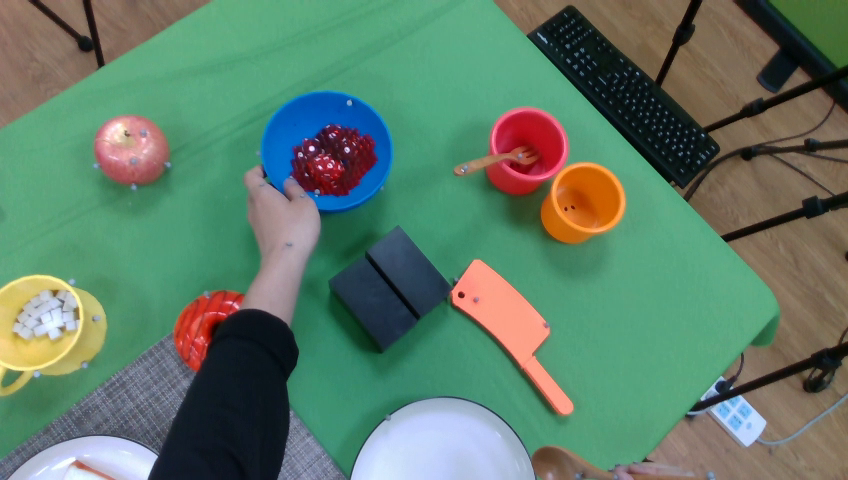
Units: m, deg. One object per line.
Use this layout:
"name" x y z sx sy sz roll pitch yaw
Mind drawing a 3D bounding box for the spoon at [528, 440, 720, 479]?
"spoon" 0.161 0.197 0.520 0.022 0.193 0.041 -25 94 -33

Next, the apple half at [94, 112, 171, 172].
"apple half" -0.334 -0.118 0.711 0.081 0.075 0.053 16 67 2

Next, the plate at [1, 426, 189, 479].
"plate" -0.333 0.296 0.611 0.208 0.039 0.206 2 75 -7

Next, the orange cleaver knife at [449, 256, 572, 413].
"orange cleaver knife" 0.115 0.111 0.733 0.077 0.012 0.210 -38 81 -21

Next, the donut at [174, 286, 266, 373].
"donut" -0.226 0.099 0.675 0.099 0.048 0.098 2 75 -7

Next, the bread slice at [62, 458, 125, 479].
"bread slice" -0.340 0.303 0.610 0.105 0.019 0.131 24 72 0

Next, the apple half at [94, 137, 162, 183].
"apple half" -0.343 -0.083 0.698 0.081 0.081 0.032 17 68 -2

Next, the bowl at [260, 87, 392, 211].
"bowl" -0.115 -0.098 0.730 0.151 0.077 0.150 2 75 -6

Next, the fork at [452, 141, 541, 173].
"fork" 0.090 -0.099 0.721 0.028 0.018 0.208 56 34 9

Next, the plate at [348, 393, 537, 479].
"plate" 0.020 0.274 0.665 0.209 0.038 0.208 2 75 -6

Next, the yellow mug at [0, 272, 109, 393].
"yellow mug" -0.410 0.102 0.644 0.100 0.064 0.130 26 74 0
